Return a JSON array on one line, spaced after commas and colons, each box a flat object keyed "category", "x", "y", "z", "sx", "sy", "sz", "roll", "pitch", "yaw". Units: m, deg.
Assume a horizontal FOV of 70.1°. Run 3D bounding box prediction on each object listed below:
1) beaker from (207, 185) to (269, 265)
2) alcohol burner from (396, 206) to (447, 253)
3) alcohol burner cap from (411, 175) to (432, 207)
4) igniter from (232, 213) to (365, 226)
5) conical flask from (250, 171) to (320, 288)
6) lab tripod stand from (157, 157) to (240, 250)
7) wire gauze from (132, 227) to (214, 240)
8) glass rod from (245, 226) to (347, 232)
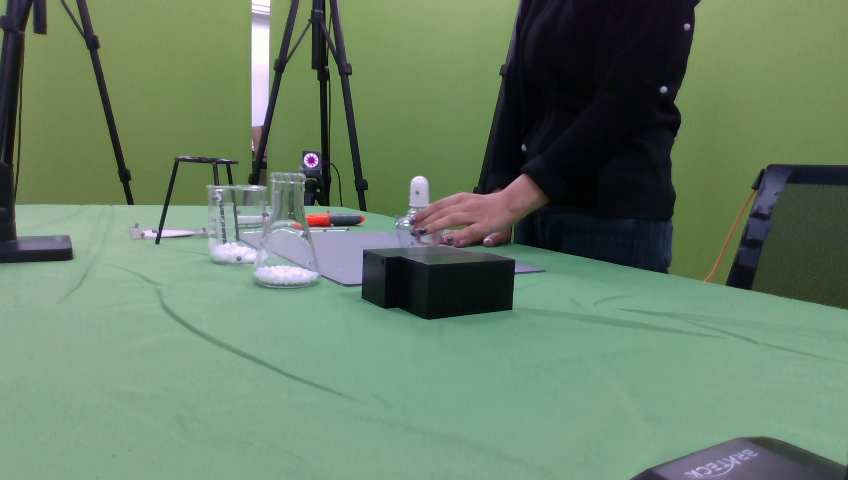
[{"category": "beaker", "x": -0.244, "y": -0.021, "z": 0.784, "sx": 0.083, "sy": 0.100, "sz": 0.074, "roll": 6, "pitch": 8, "yaw": 30}, {"category": "alcohol burner", "x": -0.004, "y": -0.040, "z": 0.930, "sx": 0.078, "sy": 0.119, "sz": 0.078, "roll": 0, "pitch": 7, "yaw": 0}, {"category": "alcohol burner cap", "x": -0.005, "y": -0.076, "z": 0.925, "sx": 0.034, "sy": 0.048, "sz": 0.034, "roll": -1, "pitch": 15, "yaw": 1}, {"category": "igniter", "x": -0.246, "y": -0.042, "z": 1.223, "sx": 0.278, "sy": 0.025, "sz": 0.057, "roll": -3, "pitch": -1, "yaw": -36}, {"category": "conical flask", "x": -0.150, "y": -0.013, "z": 0.658, "sx": 0.075, "sy": 0.122, "sz": 0.075, "roll": 2, "pitch": 7, "yaw": 0}, {"category": "lab tripod stand", "x": -0.322, "y": -0.057, "z": 0.905, "sx": 0.148, "sy": 0.131, "sz": 0.148, "roll": 4, "pitch": 7, "yaw": 0}, {"category": "wire gauze", "x": -0.425, "y": -0.013, "z": 1.018, "sx": 0.122, "sy": 0.011, "sz": 0.124, "roll": -1, "pitch": 6, "yaw": -28}, {"category": "glass rod", "x": -0.238, "y": -0.021, "z": 1.143, "sx": 0.201, "sy": 0.008, "sz": 0.008, "roll": -2, "pitch": 8, "yaw": -31}]
